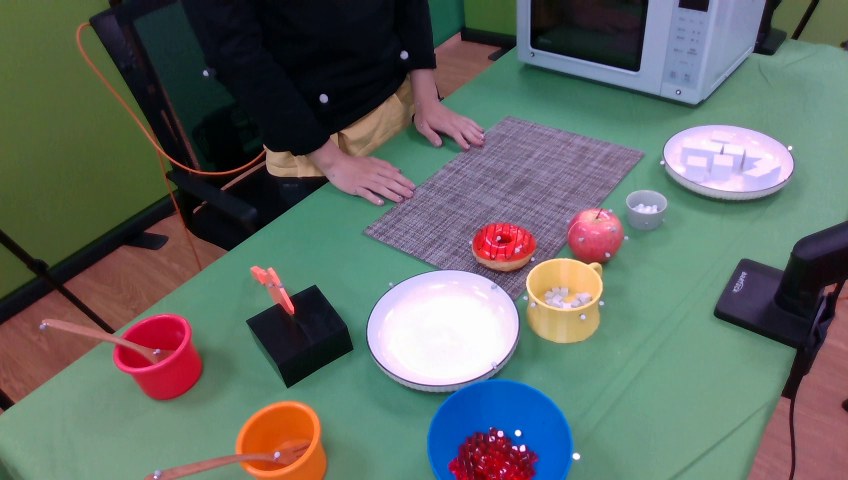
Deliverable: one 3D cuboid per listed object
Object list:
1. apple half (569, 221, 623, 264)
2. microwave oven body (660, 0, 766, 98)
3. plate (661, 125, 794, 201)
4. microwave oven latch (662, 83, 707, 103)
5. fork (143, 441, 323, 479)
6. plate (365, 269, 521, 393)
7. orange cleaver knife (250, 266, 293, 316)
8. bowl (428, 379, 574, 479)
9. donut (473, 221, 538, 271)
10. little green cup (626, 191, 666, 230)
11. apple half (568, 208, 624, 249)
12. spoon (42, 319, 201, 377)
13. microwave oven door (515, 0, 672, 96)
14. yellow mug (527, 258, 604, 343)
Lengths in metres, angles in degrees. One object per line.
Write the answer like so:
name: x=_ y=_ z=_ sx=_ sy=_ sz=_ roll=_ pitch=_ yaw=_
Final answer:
apple half: x=0.251 y=0.010 z=0.884 sx=0.081 sy=0.081 sz=0.032 roll=3 pitch=37 yaw=12
microwave oven body: x=0.472 y=-0.513 z=1.317 sx=0.438 sy=0.261 sz=0.327 roll=26 pitch=51 yaw=34
plate: x=0.513 y=-0.128 z=1.035 sx=0.207 sy=0.039 sz=0.206 roll=-4 pitch=40 yaw=4
microwave oven latch: x=0.517 y=-0.296 z=1.204 sx=0.078 sy=0.029 sz=0.030 roll=27 pitch=52 yaw=35
fork: x=-0.189 y=0.231 z=0.631 sx=0.028 sy=0.018 sz=0.209 roll=34 pitch=12 yaw=38
plate: x=0.027 y=0.123 z=0.813 sx=0.209 sy=0.038 sz=0.208 roll=-4 pitch=40 yaw=4
orange cleaver knife: x=-0.221 y=0.071 z=0.873 sx=0.012 sy=0.077 sz=0.210 roll=-25 pitch=11 yaw=-21
bowl: x=0.082 y=0.233 z=0.644 sx=0.151 sy=0.077 sz=0.150 roll=-4 pitch=39 yaw=4
donut: x=0.124 y=0.009 z=0.923 sx=0.099 sy=0.048 sz=0.098 roll=-4 pitch=38 yaw=3
little green cup: x=0.352 y=-0.046 z=0.963 sx=0.061 sy=0.039 sz=0.061 roll=-4 pitch=40 yaw=4
apple half: x=0.259 y=-0.014 z=0.914 sx=0.080 sy=0.075 sz=0.053 roll=0 pitch=36 yaw=15
spoon: x=-0.385 y=0.135 z=0.779 sx=0.195 sy=0.021 sz=0.041 roll=28 pitch=37 yaw=-26
microwave oven door: x=0.343 y=-0.454 z=1.259 sx=0.353 sy=0.245 sz=0.039 roll=26 pitch=51 yaw=33
yellow mug: x=0.201 y=0.073 z=0.825 sx=0.131 sy=0.064 sz=0.099 roll=-32 pitch=46 yaw=-27
